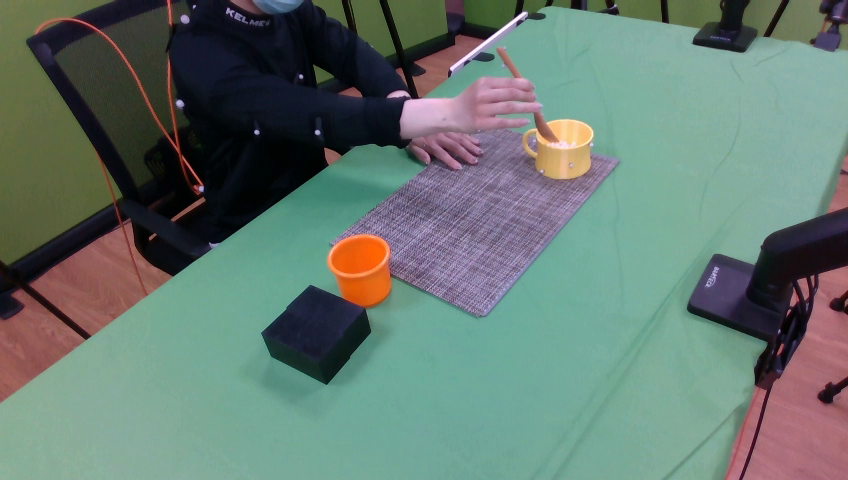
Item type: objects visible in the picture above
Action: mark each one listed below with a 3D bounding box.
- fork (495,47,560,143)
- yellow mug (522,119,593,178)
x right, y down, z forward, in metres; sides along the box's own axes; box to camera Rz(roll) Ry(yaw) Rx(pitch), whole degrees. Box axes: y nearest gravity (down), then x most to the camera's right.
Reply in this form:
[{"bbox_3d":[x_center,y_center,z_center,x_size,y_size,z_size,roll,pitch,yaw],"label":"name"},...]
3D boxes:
[{"bbox_3d":[0.170,-0.233,0.991,0.028,0.209,0.018,11,57,51],"label":"fork"},{"bbox_3d":[0.237,-0.169,1.092,0.130,0.064,0.100,17,46,27],"label":"yellow mug"}]
